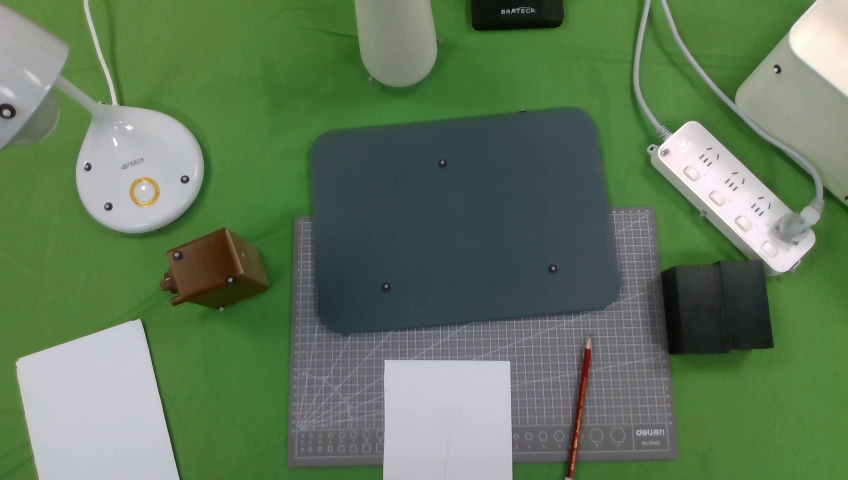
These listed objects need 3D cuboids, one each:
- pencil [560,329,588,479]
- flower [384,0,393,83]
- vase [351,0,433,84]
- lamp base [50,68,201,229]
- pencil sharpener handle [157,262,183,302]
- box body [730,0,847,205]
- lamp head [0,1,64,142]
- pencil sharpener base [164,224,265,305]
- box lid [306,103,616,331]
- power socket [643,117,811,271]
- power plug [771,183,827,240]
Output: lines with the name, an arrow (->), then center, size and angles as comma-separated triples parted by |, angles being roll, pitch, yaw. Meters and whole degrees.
pencil -> 0.175, 0.200, 0.703 | 0.012, 0.012, 0.193 | 10, 81, 4
flower -> -0.031, -0.295, 0.627 | 0.044, 0.364, 0.038 | -26, 66, -19
vase -> -0.038, -0.264, 0.706 | 0.098, 0.201, 0.097 | 0, 77, 0
lamp base -> -0.371, -0.117, 0.691 | 0.160, 0.181, 0.178 | -32, 77, -5
pencil sharpener handle -> -0.286, 0.052, 0.682 | 0.030, 0.068, 0.035 | -22, 67, -3
box body -> 0.580, -0.159, 0.692 | 0.363, 0.161, 0.254 | 44, 83, 9
lamp head -> -0.336, -0.134, 0.414 | 0.112, 0.124, 0.111 | -25, 45, 28
pencil sharpener base -> -0.240, 0.032, 0.697 | 0.077, 0.107, 0.061 | -22, 79, -3
box lid -> 0.043, -0.032, 0.753 | 0.371, 0.015, 0.262 | -6, 79, 0
power socket -> 0.370, -0.057, 0.742 | 0.072, 0.033, 0.226 | -41, 81, -7
power plug -> 0.442, -0.028, 0.711 | 0.072, 0.053, 0.035 | -30, 76, -9
